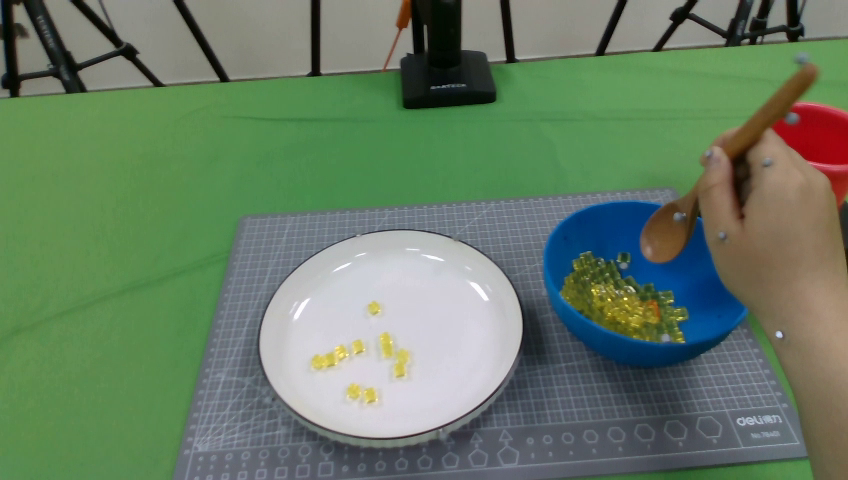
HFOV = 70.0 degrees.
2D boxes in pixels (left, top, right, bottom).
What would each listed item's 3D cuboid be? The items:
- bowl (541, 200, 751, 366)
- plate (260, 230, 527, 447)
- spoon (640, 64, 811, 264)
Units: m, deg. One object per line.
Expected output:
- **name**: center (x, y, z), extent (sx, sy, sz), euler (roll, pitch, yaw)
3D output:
- **bowl**: center (0.164, 0.046, 0.477), extent (0.151, 0.077, 0.150), euler (-1, 44, 2)
- **plate**: center (-0.023, 0.074, 0.487), extent (0.207, 0.039, 0.205), euler (-1, 44, 2)
- **spoon**: center (0.181, -0.038, 0.386), extent (0.021, 0.195, 0.041), euler (-4, 63, -4)
